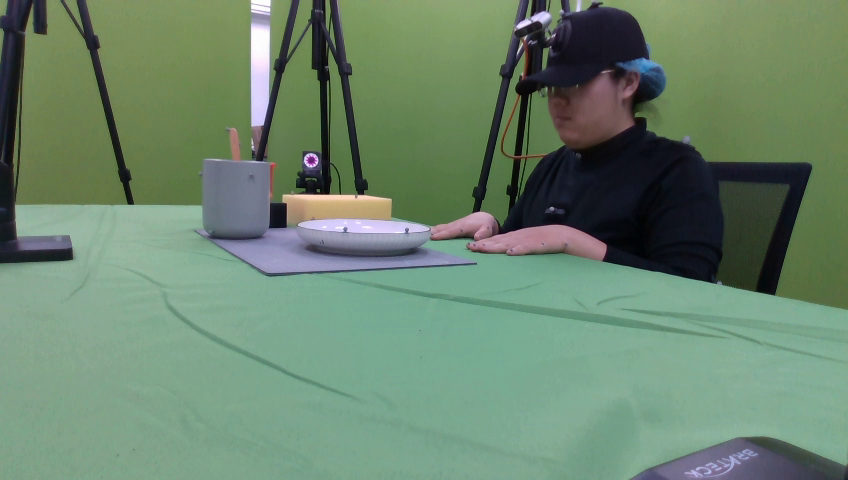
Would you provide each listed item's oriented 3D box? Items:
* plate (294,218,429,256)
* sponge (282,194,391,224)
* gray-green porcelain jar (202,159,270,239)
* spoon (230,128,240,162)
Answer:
[{"bbox_3d":[-0.096,-0.005,0.936,0.208,0.039,0.207,3,7,0],"label":"plate"},{"bbox_3d":[-0.187,-0.065,1.306,0.208,0.061,0.117,-4,10,-37],"label":"sponge"},{"bbox_3d":[-0.310,-0.068,0.999,0.106,0.126,0.106,3,8,0],"label":"gray-green porcelain jar"},{"bbox_3d":[-0.314,-0.109,1.025,0.042,0.193,0.021,-5,-19,-16],"label":"spoon"}]
